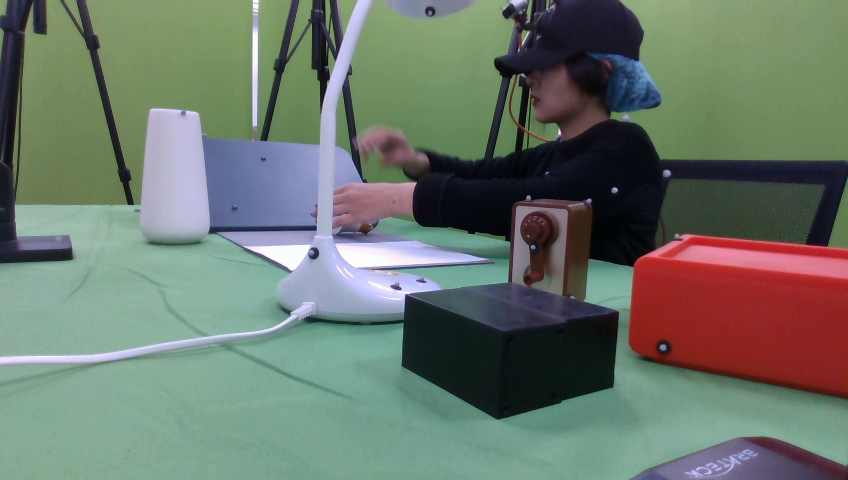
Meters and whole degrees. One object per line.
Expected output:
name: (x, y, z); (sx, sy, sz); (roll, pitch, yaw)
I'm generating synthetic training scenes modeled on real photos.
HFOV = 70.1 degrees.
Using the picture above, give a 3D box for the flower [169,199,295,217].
flower: (-0.424, -0.070, 1.399); (0.044, 0.038, 0.363); (-2, 0, 30)

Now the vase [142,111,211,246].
vase: (-0.378, -0.093, 0.920); (0.098, 0.200, 0.098); (2, 9, 0)

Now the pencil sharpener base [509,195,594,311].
pencil sharpener base: (0.126, 0.011, 0.601); (0.061, 0.107, 0.077); (7, 9, 30)

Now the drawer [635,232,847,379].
drawer: (0.292, 0.045, 0.488); (0.193, 0.073, 0.213); (7, 10, 30)

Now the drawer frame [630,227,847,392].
drawer frame: (0.292, 0.043, 0.484); (0.201, 0.082, 0.214); (7, 9, 29)

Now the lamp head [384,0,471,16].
lamp head: (-0.001, -0.301, 0.599); (0.112, 0.112, 0.123); (4, -30, 14)

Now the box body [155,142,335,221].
box body: (-0.411, -0.135, 1.386); (0.366, 0.160, 0.253); (-2, 9, -29)

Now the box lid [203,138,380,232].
box lid: (-0.286, -0.112, 1.202); (0.373, 0.015, 0.262); (-2, 46, -30)

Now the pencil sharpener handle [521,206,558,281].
pencil sharpener handle: (0.101, 0.003, 0.555); (0.036, 0.067, 0.031); (0, 5, 31)

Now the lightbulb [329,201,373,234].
lightbulb: (-0.143, -0.036, 1.108); (0.108, 0.059, 0.059); (16, 1, -27)

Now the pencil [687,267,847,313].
pencil: (0.308, 0.044, 0.515); (0.194, 0.012, 0.012); (13, 5, -12)

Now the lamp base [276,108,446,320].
lamp base: (-0.061, -0.027, 0.556); (0.160, 0.180, 0.180); (4, 10, 20)
